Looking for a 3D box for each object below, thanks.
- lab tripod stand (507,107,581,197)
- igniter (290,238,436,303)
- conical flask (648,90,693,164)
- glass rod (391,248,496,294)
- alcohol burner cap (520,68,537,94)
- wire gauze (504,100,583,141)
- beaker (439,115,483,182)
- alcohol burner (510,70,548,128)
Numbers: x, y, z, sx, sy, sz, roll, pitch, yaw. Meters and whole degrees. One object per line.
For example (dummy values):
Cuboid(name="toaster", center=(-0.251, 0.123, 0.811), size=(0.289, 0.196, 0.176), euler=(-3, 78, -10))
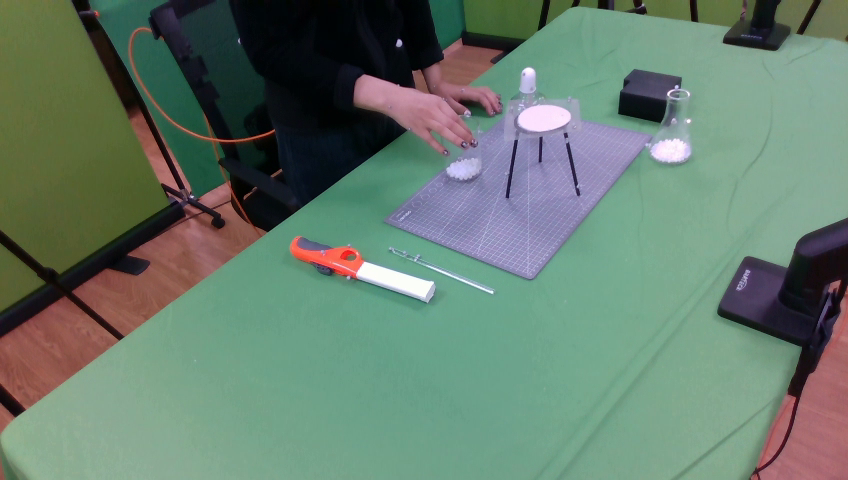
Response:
Cuboid(name="lab tripod stand", center=(0.201, -0.151, 1.033), size=(0.148, 0.132, 0.147), euler=(-7, 39, 6))
Cuboid(name="igniter", center=(-0.106, 0.044, 0.949), size=(0.274, 0.025, 0.057), euler=(16, 57, 27))
Cuboid(name="conical flask", center=(0.437, -0.199, 1.057), size=(0.075, 0.122, 0.075), euler=(-5, 40, 5))
Cuboid(name="glass rod", center=(0.026, 0.045, 0.937), size=(0.198, 0.008, 0.008), euler=(21, 49, 31))
Cuboid(name="alcohol burner cap", center=(0.205, -0.313, 1.183), size=(0.034, 0.048, 0.033), euler=(-3, 50, 4))
Cuboid(name="wire gauze", center=(0.194, -0.200, 0.987), size=(0.121, 0.011, 0.124), euler=(-1, 39, 12))
Cuboid(name="beaker", center=(0.068, -0.162, 1.093), size=(0.073, 0.101, 0.084), euler=(6, 43, 19))
Cuboid(name="alcohol burner", center=(0.209, -0.287, 1.208), size=(0.078, 0.119, 0.077), euler=(-5, 42, 5))
